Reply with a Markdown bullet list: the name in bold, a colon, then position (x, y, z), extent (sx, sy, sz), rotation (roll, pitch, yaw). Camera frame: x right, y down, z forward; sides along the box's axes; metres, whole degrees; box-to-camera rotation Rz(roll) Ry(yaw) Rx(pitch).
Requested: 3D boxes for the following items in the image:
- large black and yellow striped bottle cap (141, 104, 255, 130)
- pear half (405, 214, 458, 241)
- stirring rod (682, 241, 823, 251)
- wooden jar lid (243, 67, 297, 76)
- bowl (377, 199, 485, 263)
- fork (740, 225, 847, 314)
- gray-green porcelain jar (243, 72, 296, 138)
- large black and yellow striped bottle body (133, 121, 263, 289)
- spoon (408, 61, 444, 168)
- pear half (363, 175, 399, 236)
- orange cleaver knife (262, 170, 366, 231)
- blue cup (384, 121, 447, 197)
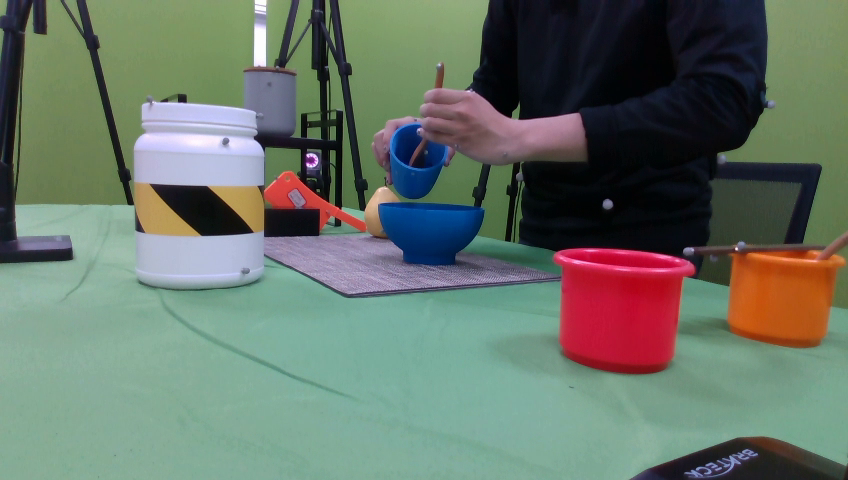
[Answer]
- **large black and yellow striped bottle cap**: position (-0.241, -0.131, 0.650), extent (0.115, 0.019, 0.115), rotation (3, 8, 0)
- **pear half**: position (0.007, -0.020, 0.847), extent (0.070, 0.031, 0.088), rotation (2, 11, 39)
- **stirring rod**: position (0.289, 0.005, 0.525), extent (0.177, 0.006, 0.014), rotation (-1, 5, -26)
- **wooden jar lid**: position (-0.319, -0.342, 1.254), extent (0.108, 0.020, 0.108), rotation (3, 8, 0)
- **bowl**: position (0.008, -0.012, 0.841), extent (0.151, 0.077, 0.151), rotation (2, 8, 0)
- **fork**: position (0.323, 0.013, 0.485), extent (0.028, 0.018, 0.207), rotation (8, -38, -6)
- **gray-green porcelain jar**: position (-0.322, -0.279, 1.263), extent (0.106, 0.126, 0.106), rotation (3, 8, 0)
- **large black and yellow striped bottle body**: position (-0.243, -0.048, 0.659), extent (0.131, 0.184, 0.130), rotation (2, 7, 0)
- **spoon**: position (0.005, -0.159, 0.842), extent (0.021, 0.193, 0.042), rotation (35, 43, 17)
- **pear half**: position (-0.064, -0.061, 1.077), extent (0.055, 0.110, 0.077), rotation (9, 14, 39)
- **orange cleaver knife**: position (-0.201, -0.057, 1.136), extent (0.212, 0.077, 0.012), rotation (31, -3, -31)
- **blue cup**: position (-0.015, -0.113, 0.905), extent (0.093, 0.092, 0.100), rotation (1, -27, -8)
